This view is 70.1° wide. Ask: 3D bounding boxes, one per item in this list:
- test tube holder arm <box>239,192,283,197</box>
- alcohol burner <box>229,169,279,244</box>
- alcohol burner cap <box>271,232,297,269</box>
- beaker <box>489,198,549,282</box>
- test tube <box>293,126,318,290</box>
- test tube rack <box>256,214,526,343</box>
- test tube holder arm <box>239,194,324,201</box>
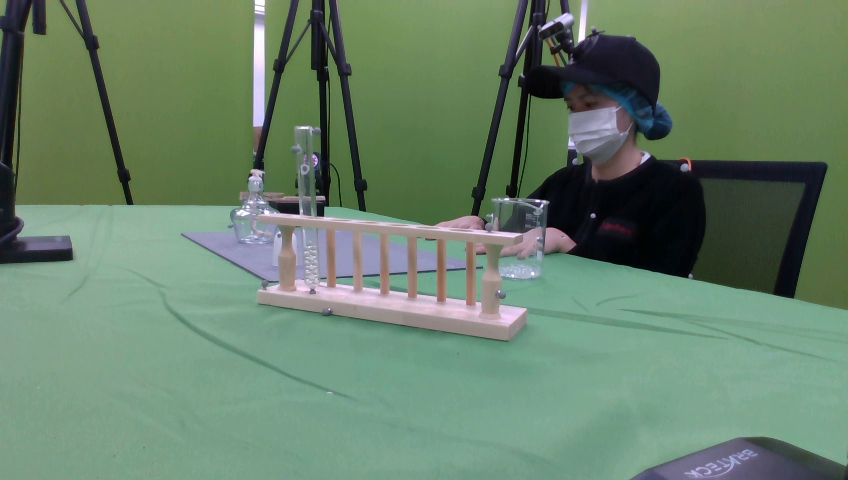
[{"bbox_3d":[-0.325,-0.092,1.213,0.088,0.010,0.015,-2,8,-36],"label":"test tube holder arm"},{"bbox_3d":[-0.268,-0.053,0.958,0.078,0.119,0.078,2,5,0],"label":"alcohol burner"},{"bbox_3d":[-0.175,0.012,0.761,0.034,0.048,0.034,2,7,0],"label":"alcohol burner cap"},{"bbox_3d":[0.120,-0.001,0.768,0.074,0.100,0.083,-1,9,-25],"label":"beaker"},{"bbox_3d":[-0.107,-0.027,0.550,0.017,0.150,0.017,-1,11,0],"label":"test tube"},{"bbox_3d":[-0.032,0.027,0.547,0.241,0.085,0.067,5,7,22],"label":"test tube rack"},{"bbox_3d":[-0.289,-0.088,1.240,0.179,0.013,0.015,-4,9,-36],"label":"test tube holder arm"}]
